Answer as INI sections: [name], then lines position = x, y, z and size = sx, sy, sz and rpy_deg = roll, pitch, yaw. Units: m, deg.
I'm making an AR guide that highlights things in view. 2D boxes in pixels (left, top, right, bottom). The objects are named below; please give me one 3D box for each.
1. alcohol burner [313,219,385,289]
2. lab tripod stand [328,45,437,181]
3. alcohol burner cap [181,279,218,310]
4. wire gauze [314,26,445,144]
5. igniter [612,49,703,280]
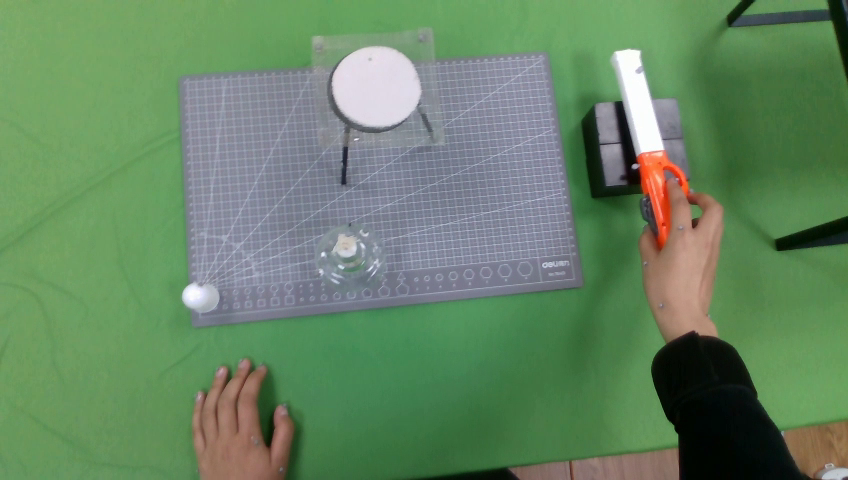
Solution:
[alcohol burner]
position = -0.081, 0.013, 0.643
size = 0.078, 0.119, 0.077
rpy_deg = 0, 81, -3
[lab tripod stand]
position = -0.056, -0.143, 0.661
size = 0.148, 0.132, 0.148
rpy_deg = 0, 79, -2
[alcohol burner cap]
position = -0.246, 0.057, 0.658
size = 0.034, 0.048, 0.033
rpy_deg = 1, 77, -5
[wire gauze]
position = -0.045, -0.151, 0.595
size = 0.125, 0.011, 0.121
rpy_deg = -3, 80, -4
[igniter]
position = 0.258, -0.088, 0.678
size = 0.057, 0.025, 0.275
rpy_deg = -8, 76, -6
